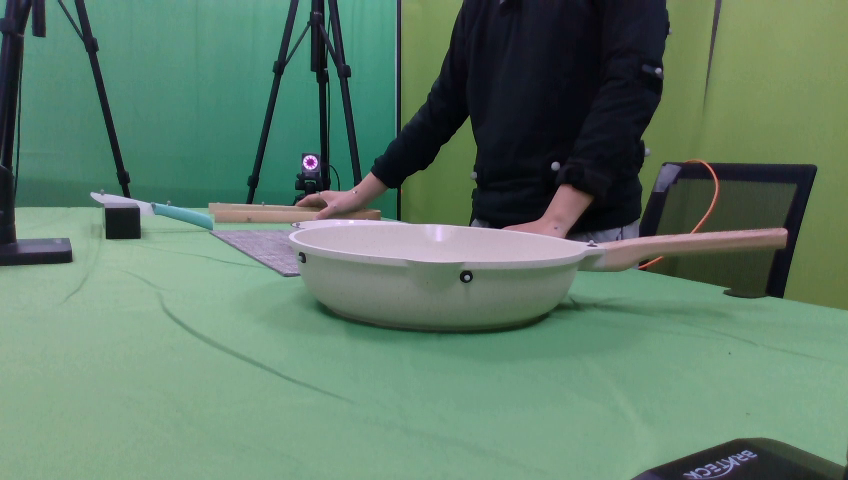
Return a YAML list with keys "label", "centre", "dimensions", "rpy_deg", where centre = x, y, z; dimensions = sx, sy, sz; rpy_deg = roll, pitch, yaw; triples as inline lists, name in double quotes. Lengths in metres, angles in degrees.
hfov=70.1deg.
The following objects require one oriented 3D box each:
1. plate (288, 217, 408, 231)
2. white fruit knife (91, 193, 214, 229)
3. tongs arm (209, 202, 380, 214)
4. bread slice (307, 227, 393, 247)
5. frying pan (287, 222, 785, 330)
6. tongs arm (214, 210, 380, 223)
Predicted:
- label: "plate"
  centre: [-0.109, -0.007, 0.956]
  dimensions: [0.208, 0.039, 0.207]
  rpy_deg: [2, 7, 0]
- label: "white fruit knife"
  centre: [-0.478, -0.055, 1.077]
  dimensions: [0.208, 0.027, 0.016]
  rpy_deg: [14, -1, -30]
- label: "tongs arm"
  centre: [-0.293, -0.067, 1.403]
  dimensions: [0.386, 0.026, 0.050]
  rpy_deg: [0, 9, -22]
- label: "bread slice"
  centre: [-0.115, -0.005, 0.950]
  dimensions: [0.134, 0.018, 0.107]
  rpy_deg: [3, 6, -7]
- label: "frying pan"
  centre: [0.114, 0.016, 0.607]
  dimensions: [0.488, 0.102, 0.307]
  rpy_deg: [-6, 8, 3]
- label: "tongs arm"
  centre: [-0.264, -0.054, 1.340]
  dimensions: [0.390, 0.028, 0.028]
  rpy_deg: [-2, 6, -32]
